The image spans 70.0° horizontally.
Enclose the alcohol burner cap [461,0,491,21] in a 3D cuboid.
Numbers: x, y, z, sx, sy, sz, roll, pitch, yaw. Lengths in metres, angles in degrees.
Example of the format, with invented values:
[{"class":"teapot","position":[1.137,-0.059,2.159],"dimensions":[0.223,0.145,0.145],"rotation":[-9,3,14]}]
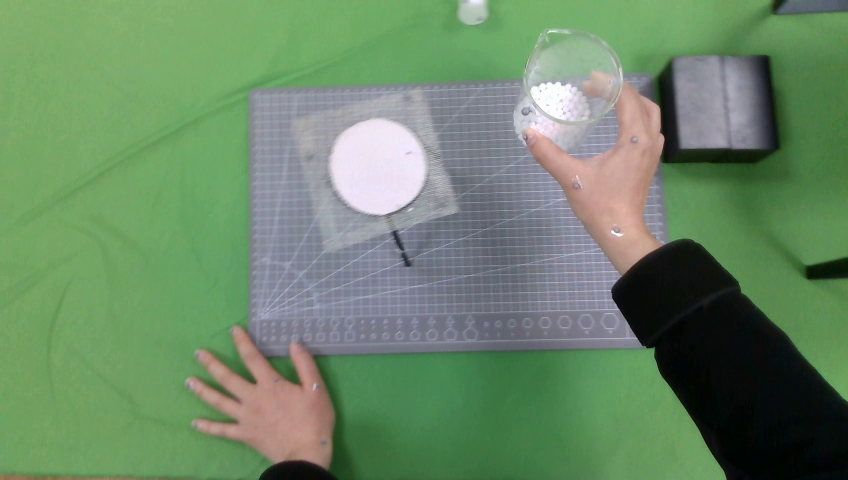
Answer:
[{"class":"alcohol burner cap","position":[0.058,-0.268,0.671],"dimensions":[0.034,0.048,0.034],"rotation":[0,83,4]}]

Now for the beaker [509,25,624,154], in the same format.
[{"class":"beaker","position":[0.109,-0.119,0.499],"dimensions":[0.074,0.100,0.083],"rotation":[-26,82,-4]}]

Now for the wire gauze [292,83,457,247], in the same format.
[{"class":"wire gauze","position":[-0.044,-0.068,0.529],"dimensions":[0.121,0.011,0.124],"rotation":[-14,84,-2]}]

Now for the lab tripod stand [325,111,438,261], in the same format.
[{"class":"lab tripod stand","position":[-0.038,-0.057,0.595],"dimensions":[0.148,0.132,0.148],"rotation":[0,83,0]}]

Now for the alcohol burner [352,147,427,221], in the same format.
[{"class":"alcohol burner","position":[-0.036,-0.060,0.605],"dimensions":[0.078,0.119,0.077],"rotation":[0,80,3]}]
